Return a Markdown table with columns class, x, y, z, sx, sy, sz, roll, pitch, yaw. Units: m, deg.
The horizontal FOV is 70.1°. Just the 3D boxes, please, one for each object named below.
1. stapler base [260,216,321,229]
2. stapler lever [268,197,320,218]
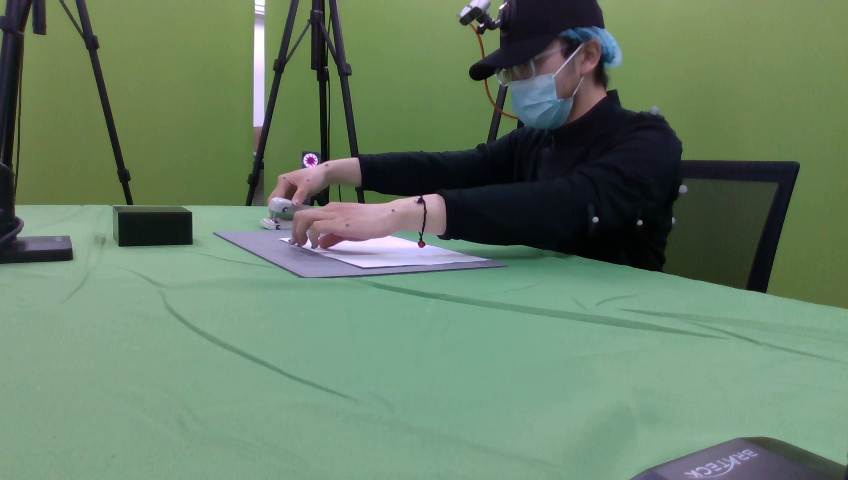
| class | x | y | z | sx | sy | sz | roll | pitch | yaw |
| --- | --- | --- | --- | --- | --- | --- | --- | --- | --- |
| stapler base | -0.263 | -0.042 | 1.204 | 0.041 | 0.024 | 0.131 | 31 | 21 | 33 |
| stapler lever | -0.256 | -0.064 | 1.198 | 0.026 | 0.040 | 0.119 | 31 | 22 | 33 |
